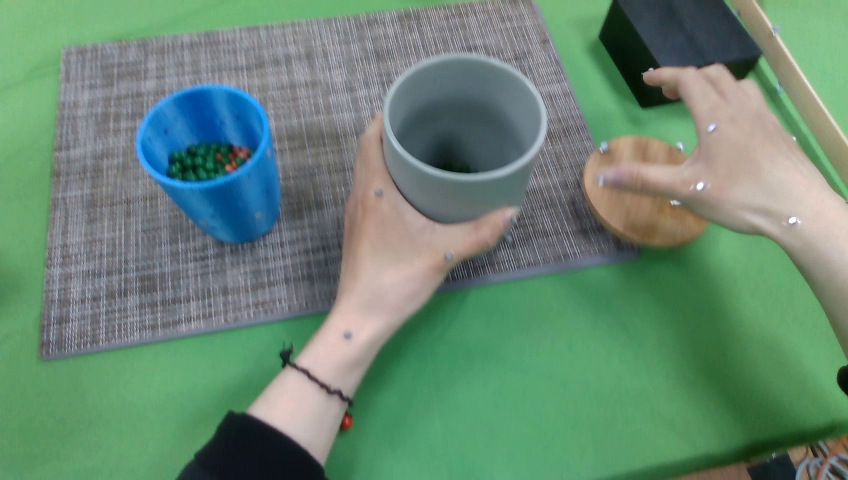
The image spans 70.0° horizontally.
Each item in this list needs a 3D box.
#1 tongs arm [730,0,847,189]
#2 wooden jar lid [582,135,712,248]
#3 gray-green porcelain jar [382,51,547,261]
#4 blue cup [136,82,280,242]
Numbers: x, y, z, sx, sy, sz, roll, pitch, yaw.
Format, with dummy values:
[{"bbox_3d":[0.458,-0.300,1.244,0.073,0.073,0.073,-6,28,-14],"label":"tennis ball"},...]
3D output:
[{"bbox_3d":[0.375,-0.092,0.537,0.051,0.027,0.381,-6,63,-13],"label":"tongs arm"},{"bbox_3d":[0.183,-0.039,0.503,0.108,0.021,0.107,3,61,-5],"label":"wooden jar lid"},{"bbox_3d":[0.023,-0.052,0.436,0.106,0.127,0.105,1,61,-2],"label":"gray-green porcelain jar"},{"bbox_3d":[-0.144,-0.047,0.438,0.093,0.101,0.092,1,63,-1],"label":"blue cup"}]
